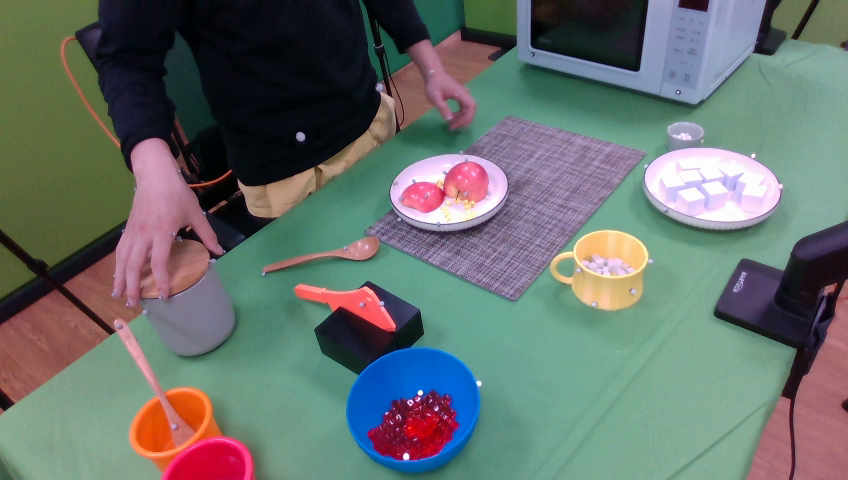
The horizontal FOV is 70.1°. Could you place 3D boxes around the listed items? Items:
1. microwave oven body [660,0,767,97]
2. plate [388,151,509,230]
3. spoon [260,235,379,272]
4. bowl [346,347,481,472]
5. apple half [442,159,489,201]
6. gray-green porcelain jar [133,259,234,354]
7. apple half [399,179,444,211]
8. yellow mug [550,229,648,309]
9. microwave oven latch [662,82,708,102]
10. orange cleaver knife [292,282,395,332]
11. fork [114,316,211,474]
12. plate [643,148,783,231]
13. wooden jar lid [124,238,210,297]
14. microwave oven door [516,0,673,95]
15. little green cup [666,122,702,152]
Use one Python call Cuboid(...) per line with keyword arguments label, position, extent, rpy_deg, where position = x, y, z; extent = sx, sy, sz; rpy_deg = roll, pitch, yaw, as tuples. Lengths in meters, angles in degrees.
Cuboid(label="microwave oven body", position=(0.473, -0.517, 1.314), extent=(0.438, 0.261, 0.327), rpy_deg=(26, 51, 34))
Cuboid(label="plate", position=(0.044, -0.082, 1.042), extent=(0.209, 0.038, 0.208), rpy_deg=(-4, 40, 4))
Cuboid(label="spoon", position=(-0.167, 0.023, 0.966), extent=(0.194, 0.022, 0.041), rpy_deg=(-10, 59, -3))
Cuboid(label="bowl", position=(-0.008, 0.205, 0.691), extent=(0.151, 0.077, 0.150), rpy_deg=(-4, 40, 4))
Cuboid(label="apple half", position=(0.074, -0.110, 1.047), extent=(0.080, 0.053, 0.075), rpy_deg=(21, 45, 30))
Cuboid(label="gray-green porcelain jar", position=(-0.328, 0.086, 0.836), extent=(0.106, 0.127, 0.105), rpy_deg=(-4, 41, 4))
Cuboid(label="apple half", position=(-0.004, -0.087, 1.045), extent=(0.081, 0.033, 0.081), rpy_deg=(-2, 42, 2))
Cuboid(label="yellow mug", position=(0.245, 0.040, 0.857), extent=(0.130, 0.064, 0.099), rpy_deg=(1, 42, 11))
Cuboid(label="microwave oven latch", position=(0.517, -0.298, 1.203), extent=(0.078, 0.029, 0.030), rpy_deg=(28, 52, 35))
Cuboid(label="orange cleaver knife", position=(-0.116, 0.091, 0.835), extent=(0.209, 0.077, 0.012), rpy_deg=(2, 32, 48))
Cuboid(label="fork", position=(-0.309, 0.179, 0.708), extent=(0.028, 0.018, 0.207), rpy_deg=(-30, 89, -24))
Cuboid(label="plate", position=(0.464, -0.080, 0.986), extent=(0.207, 0.039, 0.206), rpy_deg=(-4, 40, 4))
Cuboid(label="wooden jar lid", position=(-0.335, 0.039, 0.795), extent=(0.108, 0.021, 0.108), rpy_deg=(-2, 40, 2))
Cuboid(label="microwave oven door", position=(0.344, -0.458, 1.256), extent=(0.353, 0.245, 0.039), rpy_deg=(26, 51, 33))
Cuboid(label="little green cup", position=(0.472, -0.183, 1.102), extent=(0.061, 0.039, 0.061), rpy_deg=(-5, 40, 5))
